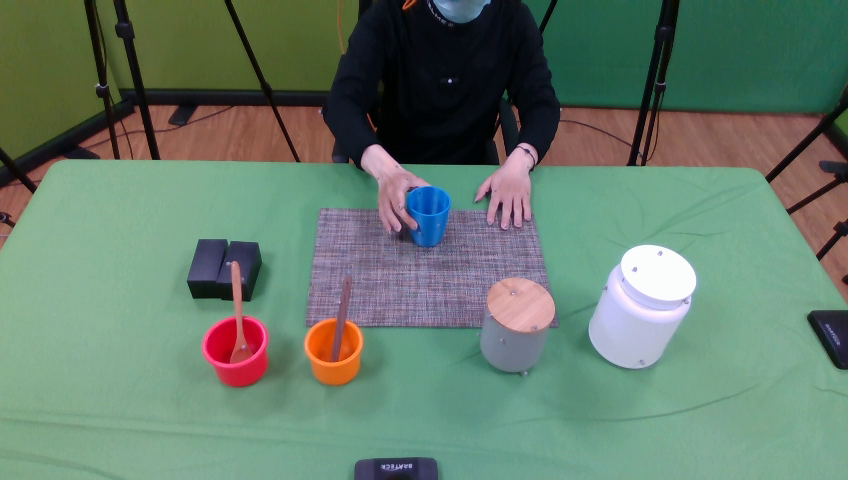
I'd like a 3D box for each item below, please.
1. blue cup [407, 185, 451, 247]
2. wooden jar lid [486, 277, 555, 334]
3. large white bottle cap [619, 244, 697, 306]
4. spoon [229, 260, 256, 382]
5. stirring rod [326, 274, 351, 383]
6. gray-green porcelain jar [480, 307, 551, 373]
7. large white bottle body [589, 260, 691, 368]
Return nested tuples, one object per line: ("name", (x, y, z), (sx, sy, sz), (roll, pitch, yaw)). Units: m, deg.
("blue cup", (0.007, -0.041, 1.176), (0.093, 0.101, 0.092), (2, 46, -2))
("wooden jar lid", (0.150, 0.105, 0.948), (0.108, 0.021, 0.107), (3, 47, -3))
("large white bottle cap", (0.362, 0.052, 0.940), (0.115, 0.018, 0.114), (2, 46, -2))
("spoon", (-0.294, 0.129, 0.966), (0.042, 0.021, 0.193), (-4, 91, -9))
("stirring rod", (-0.137, 0.142, 0.971), (0.014, 0.006, 0.176), (9, 89, 1))
("gray-green porcelain jar", (0.148, 0.148, 0.992), (0.106, 0.127, 0.105), (2, 45, -2))
("large white bottle body", (0.358, 0.110, 1.001), (0.131, 0.185, 0.130), (2, 46, -2))
